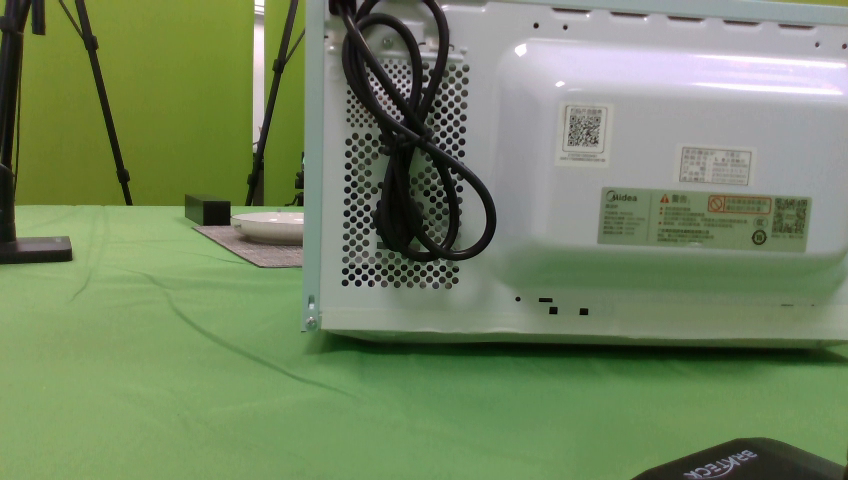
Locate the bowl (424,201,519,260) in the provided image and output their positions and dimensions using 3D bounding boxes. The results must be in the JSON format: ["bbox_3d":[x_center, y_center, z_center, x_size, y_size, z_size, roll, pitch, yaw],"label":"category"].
[{"bbox_3d":[0.073,-0.014,0.963,0.151,0.077,0.151,4,10,0],"label":"bowl"}]

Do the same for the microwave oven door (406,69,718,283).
[{"bbox_3d":[0.158,-0.082,0.743,0.355,0.243,0.039,4,9,11],"label":"microwave oven door"}]

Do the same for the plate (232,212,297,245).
[{"bbox_3d":[-0.214,-0.019,1.018,0.208,0.039,0.207,3,7,0],"label":"plate"}]

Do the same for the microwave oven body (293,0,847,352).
[{"bbox_3d":[0.122,-0.055,0.550,0.442,0.260,0.325,3,7,-5],"label":"microwave oven body"}]

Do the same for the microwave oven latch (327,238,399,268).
[{"bbox_3d":[-0.069,0.015,0.694,0.079,0.029,0.030,3,7,-3],"label":"microwave oven latch"}]
